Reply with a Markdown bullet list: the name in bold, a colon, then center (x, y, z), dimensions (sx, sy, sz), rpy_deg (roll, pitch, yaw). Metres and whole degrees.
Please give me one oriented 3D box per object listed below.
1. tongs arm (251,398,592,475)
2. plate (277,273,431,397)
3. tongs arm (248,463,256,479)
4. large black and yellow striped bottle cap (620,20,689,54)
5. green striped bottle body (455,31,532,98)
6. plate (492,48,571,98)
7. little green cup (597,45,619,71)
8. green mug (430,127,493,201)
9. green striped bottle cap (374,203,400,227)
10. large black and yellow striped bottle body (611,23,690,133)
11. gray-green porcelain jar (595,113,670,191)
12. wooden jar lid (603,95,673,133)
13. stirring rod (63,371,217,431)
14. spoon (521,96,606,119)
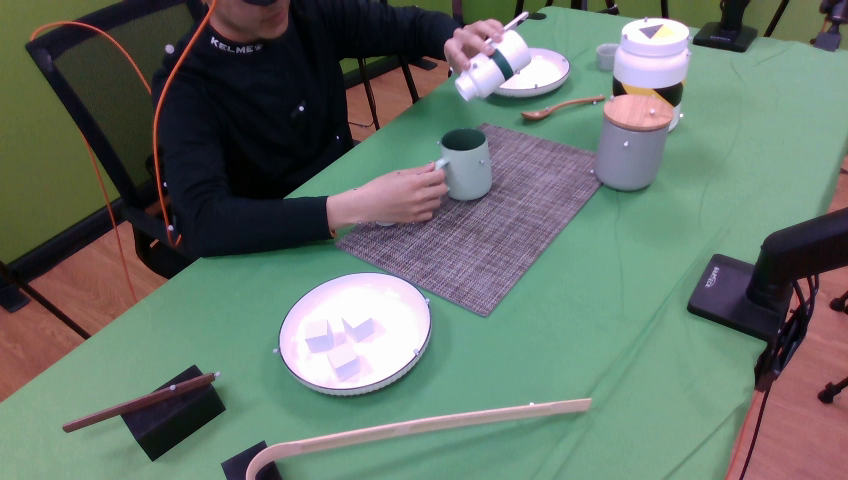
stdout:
- **tongs arm**: center (0.008, 0.213, 0.675), dimensions (0.389, 0.028, 0.028), rpy_deg (-5, 46, -11)
- **plate**: center (-0.091, 0.129, 0.821), dimensions (0.207, 0.039, 0.206), rpy_deg (-4, 40, 4)
- **tongs arm**: center (0.012, 0.262, 0.615), dimensions (0.385, 0.026, 0.050), rpy_deg (2, 41, -2)
- **large black and yellow striped bottle cap**: center (0.411, -0.363, 1.080), dimensions (0.115, 0.019, 0.114), rpy_deg (-4, 42, 4)
- **green striped bottle body**: center (0.108, -0.275, 0.967), dimensions (0.119, 0.063, 0.062), rpy_deg (-34, 44, -2)
- **plate**: center (0.223, -0.371, 1.357), dimensions (0.209, 0.038, 0.208), rpy_deg (-4, 41, 4)
- **little green cup**: center (0.423, -0.413, 1.376), dimensions (0.061, 0.039, 0.061), rpy_deg (-4, 41, 4)
- **green mug**: center (0.059, -0.121, 1.034), dimensions (0.126, 0.105, 0.091), rpy_deg (-35, 48, -28)
- **green striped bottle cap**: center (-0.063, -0.043, 1.030), dimensions (0.044, 0.020, 0.044), rpy_deg (-2, 44, 2)
- **large black and yellow striped bottle body**: center (0.420, -0.300, 1.132), dimensions (0.131, 0.185, 0.130), rpy_deg (-5, 40, 4)
- **gray-green porcelain jar**: center (0.347, -0.155, 1.017), dimensions (0.106, 0.127, 0.105), rpy_deg (-2, 44, 2)
- **wooden jar lid**: center (0.343, -0.200, 0.974), dimensions (0.108, 0.021, 0.108), rpy_deg (-2, 39, 2)
- **stirring rod**: center (-0.337, 0.192, 0.723), dimensions (0.177, 0.014, 0.005), rpy_deg (-18, 42, -12)
- **spoon**: center (0.291, -0.277, 1.249), dimensions (0.194, 0.022, 0.041), rpy_deg (-18, 23, -11)
